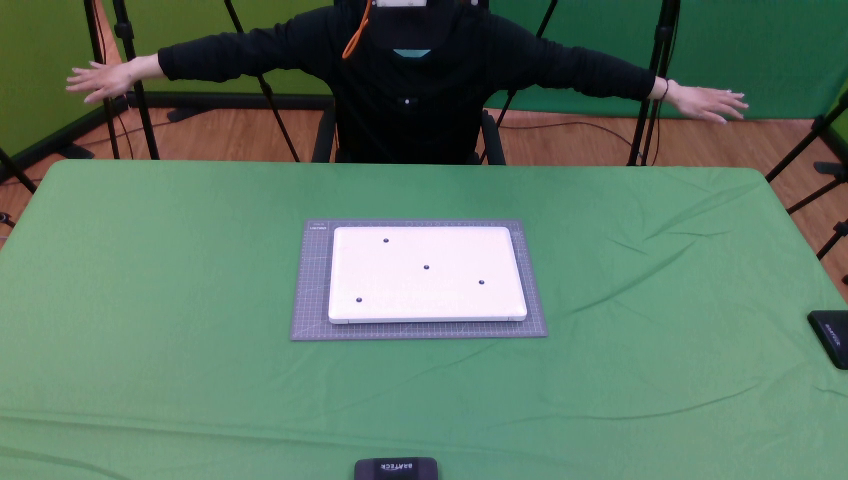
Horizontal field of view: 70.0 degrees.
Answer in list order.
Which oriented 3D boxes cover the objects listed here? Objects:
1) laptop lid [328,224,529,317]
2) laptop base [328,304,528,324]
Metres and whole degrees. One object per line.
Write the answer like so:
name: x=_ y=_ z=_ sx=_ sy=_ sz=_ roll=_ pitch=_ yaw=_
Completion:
laptop lid: x=0.005 y=0.051 z=1.130 sx=0.357 sy=0.013 sz=0.240 roll=1 pitch=44 yaw=-3
laptop base: x=0.005 y=0.061 z=1.136 sx=0.355 sy=0.023 sz=0.234 roll=0 pitch=43 yaw=-4
